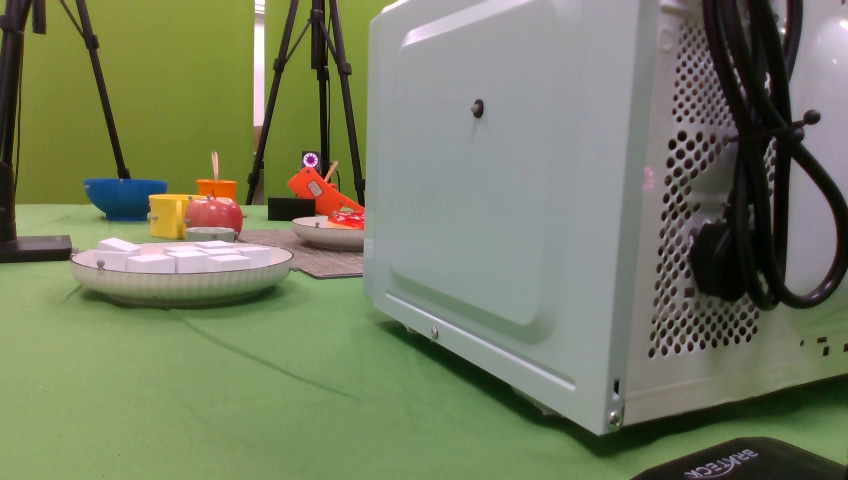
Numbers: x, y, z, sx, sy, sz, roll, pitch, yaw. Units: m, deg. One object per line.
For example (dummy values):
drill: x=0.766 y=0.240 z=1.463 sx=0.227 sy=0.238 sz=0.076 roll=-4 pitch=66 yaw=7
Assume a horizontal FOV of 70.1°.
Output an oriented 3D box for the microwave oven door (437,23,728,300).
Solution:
microwave oven door: x=0.181 y=-0.072 z=0.621 sx=0.358 sy=0.243 sz=0.039 roll=-2 pitch=8 yaw=-29

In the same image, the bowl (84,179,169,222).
bowl: x=-0.584 y=-0.078 z=1.194 sx=0.151 sy=0.077 sz=0.151 roll=3 pitch=8 yaw=0

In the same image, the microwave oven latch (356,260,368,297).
microwave oven latch: x=-0.020 y=0.033 z=0.530 sx=0.079 sy=0.029 sz=0.030 roll=-1 pitch=7 yaw=-27

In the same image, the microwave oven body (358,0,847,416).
microwave oven body: x=0.211 y=-0.047 z=0.474 sx=0.444 sy=0.260 sz=0.324 roll=-1 pitch=8 yaw=-28

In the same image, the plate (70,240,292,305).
plate: x=-0.242 y=0.031 z=0.618 sx=0.208 sy=0.039 sz=0.207 roll=2 pitch=8 yaw=0

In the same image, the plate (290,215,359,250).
plate: x=-0.110 y=-0.013 z=0.973 sx=0.209 sy=0.038 sz=0.209 roll=2 pitch=8 yaw=0

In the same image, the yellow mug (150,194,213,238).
yellow mug: x=-0.401 y=-0.040 z=1.003 sx=0.100 sy=0.064 sz=0.130 roll=-1 pitch=9 yaw=-20

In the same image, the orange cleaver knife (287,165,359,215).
orange cleaver knife: x=-0.211 y=-0.093 z=1.382 sx=0.212 sy=0.077 sz=0.012 roll=33 pitch=1 yaw=-15

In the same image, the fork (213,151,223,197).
fork: x=-0.494 y=-0.143 z=1.442 sx=0.028 sy=0.018 sz=0.206 roll=-2 pitch=52 yaw=-20

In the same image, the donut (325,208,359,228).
donut: x=-0.110 y=-0.025 z=0.974 sx=0.099 sy=0.048 sz=0.099 roll=5 pitch=8 yaw=0

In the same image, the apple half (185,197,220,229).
apple half: x=-0.338 y=-0.031 z=0.927 sx=0.032 sy=0.081 sz=0.081 roll=12 pitch=12 yaw=31

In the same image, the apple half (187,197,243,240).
apple half: x=-0.305 y=-0.026 z=0.907 sx=0.053 sy=0.074 sz=0.081 roll=12 pitch=8 yaw=31

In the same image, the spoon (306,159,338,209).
spoon: x=-0.257 y=-0.147 z=1.567 sx=0.041 sy=0.022 sz=0.193 roll=2 pitch=50 yaw=19

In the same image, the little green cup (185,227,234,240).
little green cup: x=-0.285 y=0.005 z=0.805 sx=0.061 sy=0.038 sz=0.061 roll=2 pitch=8 yaw=0
